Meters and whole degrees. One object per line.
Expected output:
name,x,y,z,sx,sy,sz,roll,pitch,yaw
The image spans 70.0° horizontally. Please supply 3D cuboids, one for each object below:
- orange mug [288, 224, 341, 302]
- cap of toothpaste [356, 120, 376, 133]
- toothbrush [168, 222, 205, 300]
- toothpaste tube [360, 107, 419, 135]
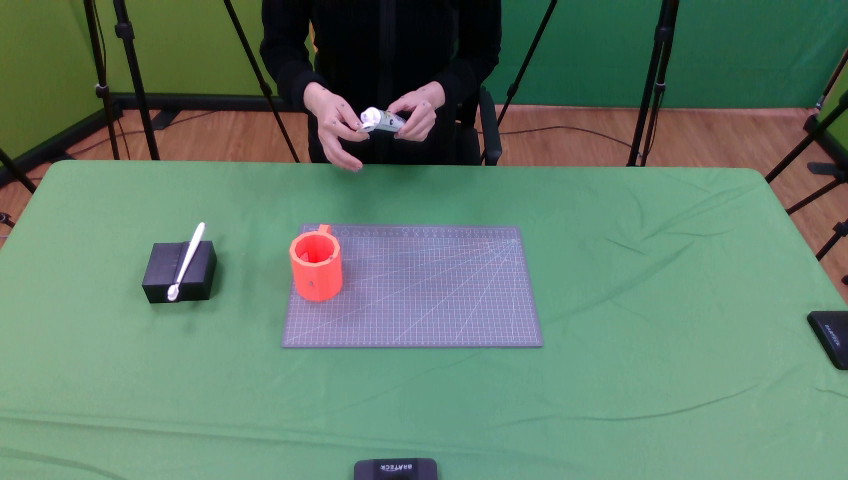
orange mug,-0.192,0.034,1.094,0.083,0.101,0.125,7,50,2
cap of toothpaste,-0.098,-0.191,1.016,0.037,0.037,0.011,-21,89,-23
toothbrush,-0.419,0.032,1.070,0.014,0.017,0.180,2,46,2
toothpaste tube,-0.063,-0.214,1.097,0.055,0.034,0.165,50,24,15
